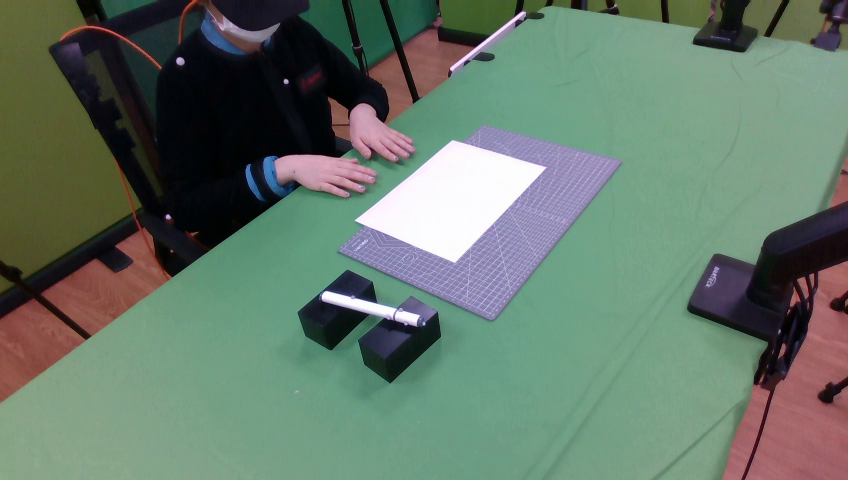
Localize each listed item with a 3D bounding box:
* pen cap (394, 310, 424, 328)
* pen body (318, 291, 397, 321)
[{"bbox_3d":[-0.019,0.102,0.778,0.038,0.017,0.017,12,44,22],"label":"pen cap"},{"bbox_3d":[-0.076,0.089,0.801,0.143,0.017,0.017,12,44,21],"label":"pen body"}]
